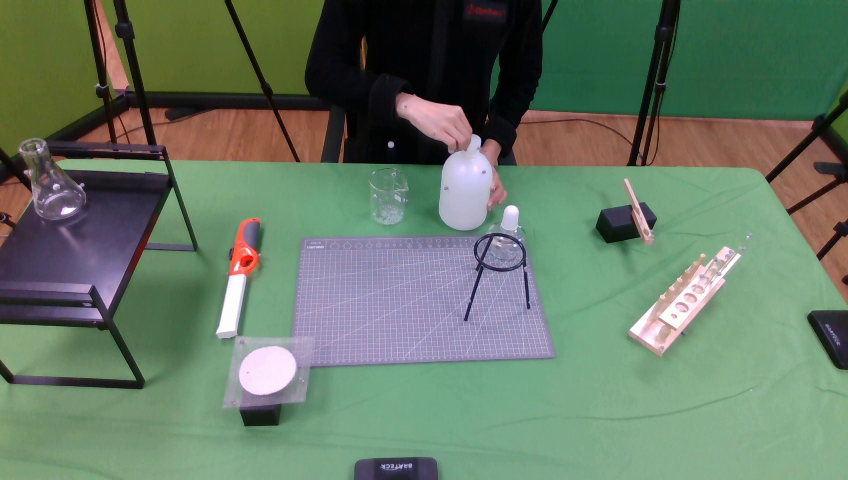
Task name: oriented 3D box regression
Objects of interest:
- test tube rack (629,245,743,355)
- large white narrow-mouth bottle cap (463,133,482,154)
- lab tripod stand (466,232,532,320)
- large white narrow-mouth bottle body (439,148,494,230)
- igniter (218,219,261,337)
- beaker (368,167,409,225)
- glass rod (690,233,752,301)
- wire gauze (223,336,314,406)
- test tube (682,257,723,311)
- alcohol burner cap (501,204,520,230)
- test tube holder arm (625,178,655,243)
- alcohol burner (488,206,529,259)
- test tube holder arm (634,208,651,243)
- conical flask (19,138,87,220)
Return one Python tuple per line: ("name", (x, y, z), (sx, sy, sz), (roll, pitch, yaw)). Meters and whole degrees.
("test tube rack", (0.474, 0.095, 1.091), (0.242, 0.085, 0.066), (-34, 56, -31))
("large white narrow-mouth bottle cap", (0.091, -0.180, 1.130), (0.038, 0.024, 0.037), (2, 46, -2))
("lab tripod stand", (0.125, 0.059, 1.065), (0.148, 0.132, 0.147), (1, 45, 0))
("large white narrow-mouth bottle body", (0.085, -0.118, 1.196), (0.102, 0.195, 0.101), (2, 46, -2))
("igniter", (-0.336, 0.060, 1.111), (0.057, 0.025, 0.274), (-8, 46, 4))
("beaker", (-0.070, -0.085, 1.220), (0.084, 0.101, 0.074), (21, 49, 15))
("glass rod", (0.507, 0.053, 1.041), (0.008, 0.200, 0.008), (5, 51, -6))
("wire gauze", (-0.237, 0.197, 0.931), (0.121, 0.011, 0.124), (1, 45, -4))
("test tube", (0.475, 0.080, 1.037), (0.017, 0.151, 0.017), (1, 51, -1))
("alcohol burner cap", (0.164, -0.046, 1.133), (0.034, 0.048, 0.033), (2, 40, -2))
("test tube holder arm", (0.433, -0.062, 1.220), (0.013, 0.015, 0.177), (1, 47, -3))
("alcohol burner", (0.163, -0.020, 1.158), (0.078, 0.120, 0.077), (0, 47, 0))
("test tube holder arm", (0.428, -0.030, 1.189), (0.010, 0.015, 0.087), (2, 47, -3))
("conical flask", (-0.576, -0.097, 0.930), (0.075, 0.122, 0.075), (2, 46, -2))
